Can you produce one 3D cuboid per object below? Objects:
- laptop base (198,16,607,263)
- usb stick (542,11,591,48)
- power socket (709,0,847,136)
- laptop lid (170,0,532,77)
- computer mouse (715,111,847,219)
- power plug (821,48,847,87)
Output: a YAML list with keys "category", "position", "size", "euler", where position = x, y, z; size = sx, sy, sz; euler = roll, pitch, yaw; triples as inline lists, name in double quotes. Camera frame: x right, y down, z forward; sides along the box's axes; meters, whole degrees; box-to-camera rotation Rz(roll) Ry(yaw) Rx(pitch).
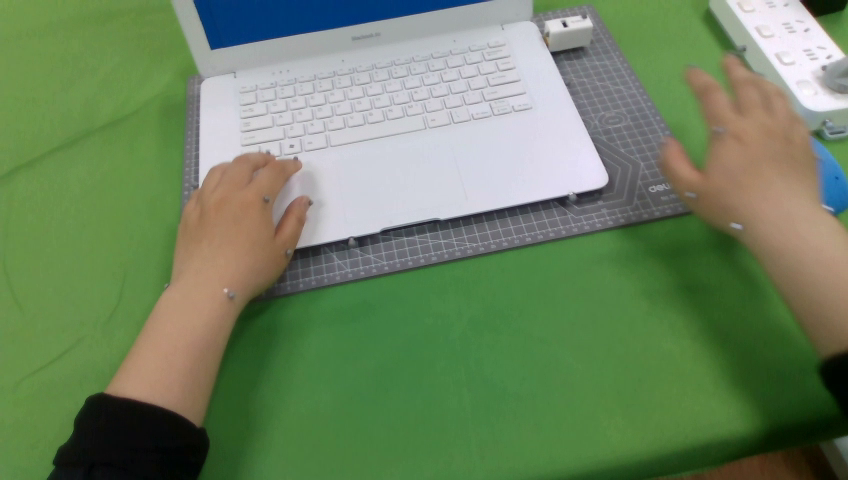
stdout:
- category: "laptop base"
  position: [-0.035, -0.105, 0.573]
  size: [0.354, 0.023, 0.233]
  euler: [-12, 58, -3]
- category: "usb stick"
  position: [0.138, -0.214, 0.618]
  size: [0.059, 0.027, 0.021]
  euler: [-12, 56, 1]
- category: "power socket"
  position: [0.353, -0.194, 0.593]
  size: [0.072, 0.033, 0.224]
  euler: [-8, 55, -1]
- category: "laptop lid"
  position: [-0.072, -0.285, 0.559]
  size: [0.357, 0.244, 0.013]
  euler: [-13, 42, -2]
- category: "computer mouse"
  position: [0.298, -0.069, 0.508]
  size: [0.063, 0.041, 0.116]
  euler: [-12, 50, 0]
- category: "power plug"
  position: [0.391, -0.150, 0.534]
  size: [0.072, 0.053, 0.035]
  euler: [0, 57, 5]
